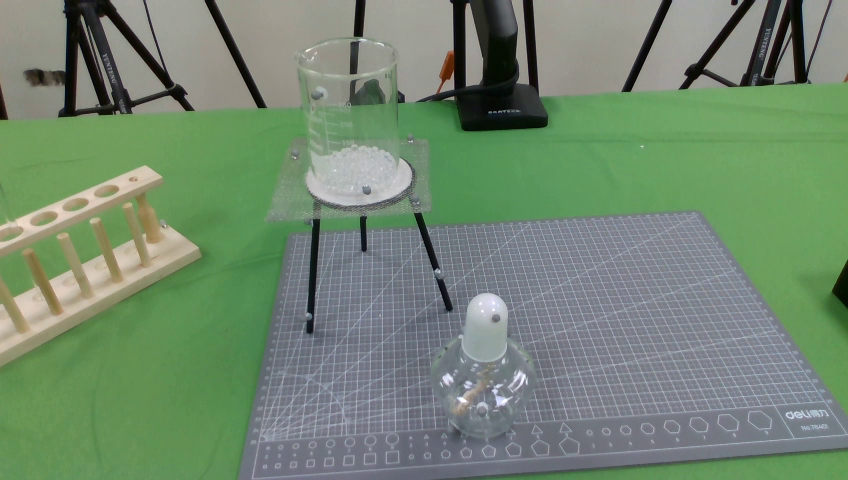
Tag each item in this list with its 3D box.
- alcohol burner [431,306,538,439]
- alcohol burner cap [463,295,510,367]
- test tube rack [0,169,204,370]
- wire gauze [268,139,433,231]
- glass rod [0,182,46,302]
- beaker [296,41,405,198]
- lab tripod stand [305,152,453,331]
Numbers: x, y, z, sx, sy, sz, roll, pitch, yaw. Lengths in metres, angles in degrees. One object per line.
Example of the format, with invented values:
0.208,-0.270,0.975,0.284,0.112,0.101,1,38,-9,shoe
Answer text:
0.044,0.087,0.431,0.078,0.120,0.077,0,40,1,alcohol burner
0.044,0.058,0.409,0.034,0.048,0.033,1,39,-1,alcohol burner cap
-0.333,0.030,0.546,0.066,0.086,0.242,28,46,33,test tube rack
-0.055,-0.050,0.487,0.121,0.011,0.124,-1,40,0,wire gauze
-0.357,-0.029,0.515,0.008,0.201,0.008,0,30,0,glass rod
-0.056,-0.090,0.459,0.083,0.101,0.074,22,43,25,beaker
-0.045,0.001,0.530,0.148,0.132,0.147,0,37,0,lab tripod stand
